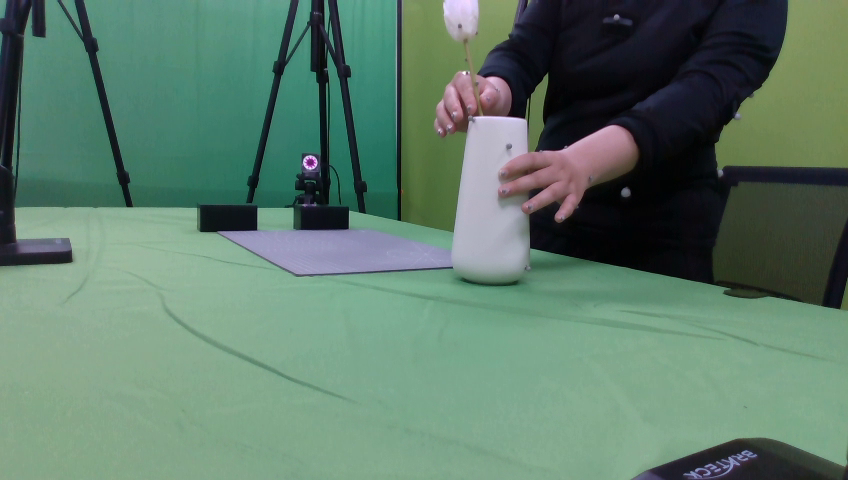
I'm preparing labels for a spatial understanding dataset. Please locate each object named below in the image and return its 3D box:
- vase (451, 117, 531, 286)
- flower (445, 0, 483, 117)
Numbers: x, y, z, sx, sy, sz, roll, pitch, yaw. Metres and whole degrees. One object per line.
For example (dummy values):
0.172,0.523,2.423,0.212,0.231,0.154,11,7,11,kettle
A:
0.084,-0.047,0.737,0.098,0.200,0.098,2,6,0,vase
0.074,-0.130,0.737,0.044,0.361,0.038,-11,-5,21,flower
